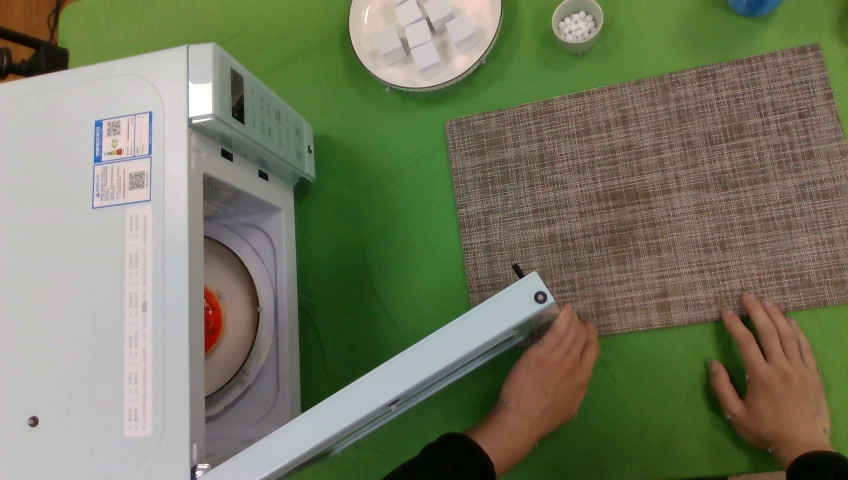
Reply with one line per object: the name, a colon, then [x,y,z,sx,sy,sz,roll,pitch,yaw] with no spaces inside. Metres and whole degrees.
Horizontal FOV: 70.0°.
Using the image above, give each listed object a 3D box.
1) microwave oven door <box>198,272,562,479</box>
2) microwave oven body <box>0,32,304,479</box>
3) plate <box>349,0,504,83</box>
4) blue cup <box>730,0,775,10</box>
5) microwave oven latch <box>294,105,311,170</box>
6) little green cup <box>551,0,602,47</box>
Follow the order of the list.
microwave oven door: [-0.023,0.143,0.621,0.356,0.245,0.039,-33,75,7]
microwave oven body: [-0.319,0.041,0.710,0.325,0.261,0.440,-6,81,12]
plate: [0.004,-0.303,0.802,0.207,0.039,0.207,-2,81,13]
blue cup: [0.385,-0.311,0.682,0.092,0.101,0.092,-2,83,12]
microwave oven latch: [-0.166,-0.135,0.799,0.030,0.029,0.079,-4,82,12]
little green cup: [0.190,-0.273,0.755,0.061,0.039,0.061,-2,81,13]
